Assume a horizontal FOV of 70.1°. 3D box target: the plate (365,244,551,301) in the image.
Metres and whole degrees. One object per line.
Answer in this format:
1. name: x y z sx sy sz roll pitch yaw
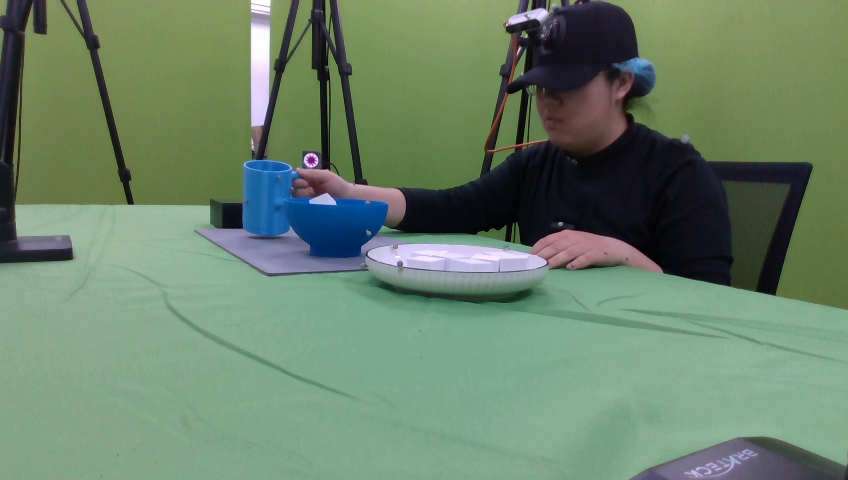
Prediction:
1. plate: 0.038 0.036 0.685 0.209 0.038 0.209 2 7 0

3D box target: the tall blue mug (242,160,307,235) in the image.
1. tall blue mug: -0.255 -0.075 1.014 0.077 0.108 0.107 12 20 15

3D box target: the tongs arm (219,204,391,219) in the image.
1. tongs arm: -0.258 -0.064 1.368 0.386 0.026 0.050 1 3 -17

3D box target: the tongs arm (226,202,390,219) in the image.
1. tongs arm: -0.275 -0.071 1.446 0.388 0.027 0.028 2 -1 -4

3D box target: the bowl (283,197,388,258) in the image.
1. bowl: -0.127 -0.018 0.868 0.151 0.077 0.151 2 7 0
